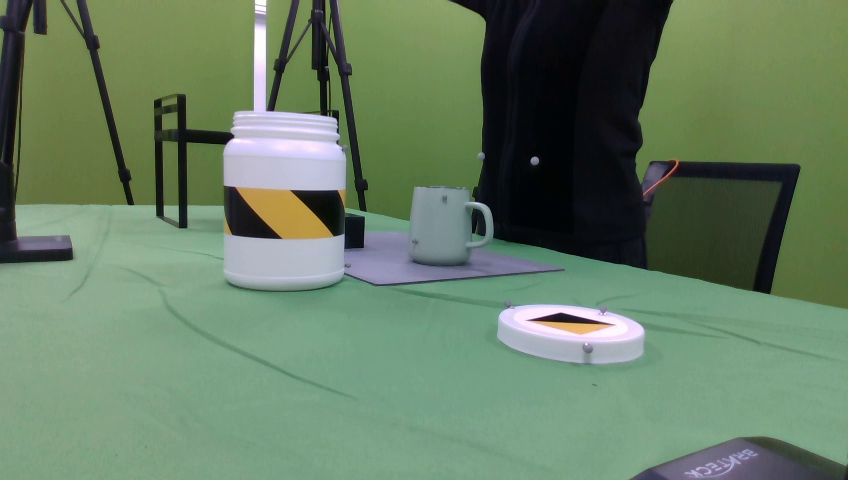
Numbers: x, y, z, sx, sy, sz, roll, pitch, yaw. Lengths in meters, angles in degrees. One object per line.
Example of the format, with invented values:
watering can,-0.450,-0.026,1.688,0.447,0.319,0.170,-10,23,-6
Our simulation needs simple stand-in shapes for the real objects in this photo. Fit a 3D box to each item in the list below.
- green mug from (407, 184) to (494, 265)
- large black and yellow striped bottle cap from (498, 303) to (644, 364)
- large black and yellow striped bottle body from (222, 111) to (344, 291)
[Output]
green mug,0.038,-0.021,0.827,0.125,0.105,0.093,6,8,30
large black and yellow striped bottle cap,0.117,0.072,0.487,0.115,0.019,0.115,1,8,0
large black and yellow striped bottle body,-0.153,-0.045,0.667,0.131,0.184,0.130,2,8,0
